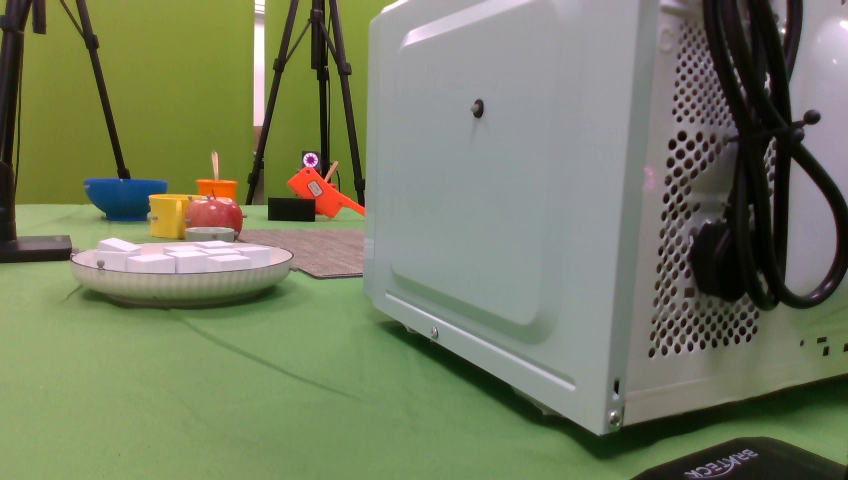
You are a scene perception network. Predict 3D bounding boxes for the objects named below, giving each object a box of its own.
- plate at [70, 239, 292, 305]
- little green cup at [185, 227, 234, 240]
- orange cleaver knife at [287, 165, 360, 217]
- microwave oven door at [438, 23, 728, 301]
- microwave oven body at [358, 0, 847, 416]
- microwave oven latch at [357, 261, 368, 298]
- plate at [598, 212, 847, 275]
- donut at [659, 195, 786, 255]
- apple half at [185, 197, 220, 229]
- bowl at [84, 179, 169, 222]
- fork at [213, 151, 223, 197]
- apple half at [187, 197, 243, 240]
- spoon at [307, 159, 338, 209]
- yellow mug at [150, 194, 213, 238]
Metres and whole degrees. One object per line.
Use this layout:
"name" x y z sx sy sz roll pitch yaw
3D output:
"plate" -0.242 0.031 0.618 0.208 0.039 0.207 2 8 0
"little green cup" -0.285 0.005 0.805 0.061 0.038 0.061 2 8 0
"orange cleaver knife" -0.211 -0.092 1.382 0.212 0.077 0.012 34 1 -15
"microwave oven door" 0.181 -0.072 0.620 0.358 0.243 0.039 -2 8 -29
"microwave oven body" 0.211 -0.047 0.474 0.444 0.260 0.324 -1 7 -28
"microwave oven latch" -0.019 0.033 0.530 0.079 0.029 0.030 -1 7 -26
"plate" 0.255 0.000 0.518 0.209 0.038 0.209 2 6 0
"donut" 0.252 -0.012 0.517 0.099 0.048 0.099 3 8 0
"apple half" -0.338 -0.031 0.927 0.032 0.081 0.081 12 12 31
"bowl" -0.584 -0.078 1.194 0.151 0.077 0.151 3 8 0
"fork" -0.493 -0.143 1.442 0.028 0.018 0.206 -3 52 -18
"apple half" -0.305 -0.026 0.907 0.053 0.074 0.081 12 8 31
"spoon" -0.257 -0.147 1.567 0.041 0.022 0.193 1 50 20
"yellow mug" -0.401 -0.040 1.003 0.100 0.064 0.130 -1 9 -20
